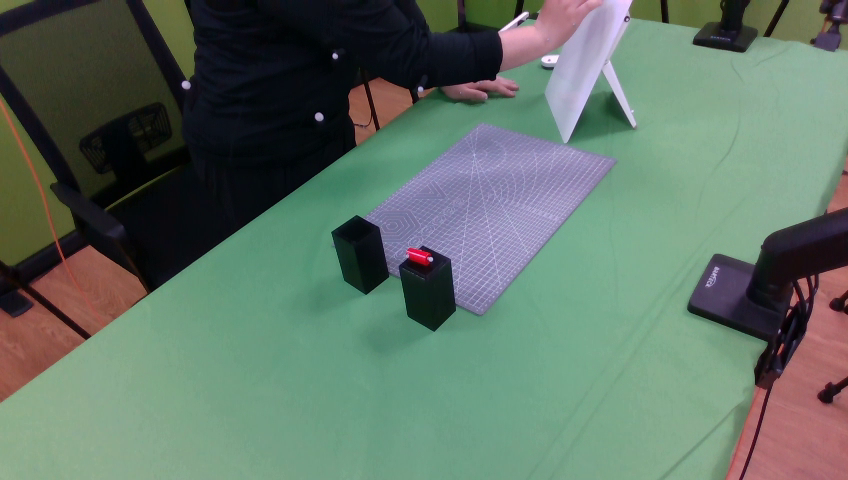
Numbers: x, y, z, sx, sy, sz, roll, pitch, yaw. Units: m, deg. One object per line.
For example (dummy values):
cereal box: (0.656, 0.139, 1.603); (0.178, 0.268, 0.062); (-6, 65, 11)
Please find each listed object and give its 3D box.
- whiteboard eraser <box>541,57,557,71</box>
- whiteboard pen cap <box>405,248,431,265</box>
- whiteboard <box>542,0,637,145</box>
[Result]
whiteboard eraser: (0.324, -0.412, 1.408); (0.101, 0.019, 0.041); (2, 43, 11)
whiteboard pen cap: (-0.008, 0.021, 0.794); (0.032, 0.017, 0.017); (16, 45, 28)
whiteboard: (0.366, -0.351, 1.160); (0.144, 0.305, 0.216); (10, 39, -10)
